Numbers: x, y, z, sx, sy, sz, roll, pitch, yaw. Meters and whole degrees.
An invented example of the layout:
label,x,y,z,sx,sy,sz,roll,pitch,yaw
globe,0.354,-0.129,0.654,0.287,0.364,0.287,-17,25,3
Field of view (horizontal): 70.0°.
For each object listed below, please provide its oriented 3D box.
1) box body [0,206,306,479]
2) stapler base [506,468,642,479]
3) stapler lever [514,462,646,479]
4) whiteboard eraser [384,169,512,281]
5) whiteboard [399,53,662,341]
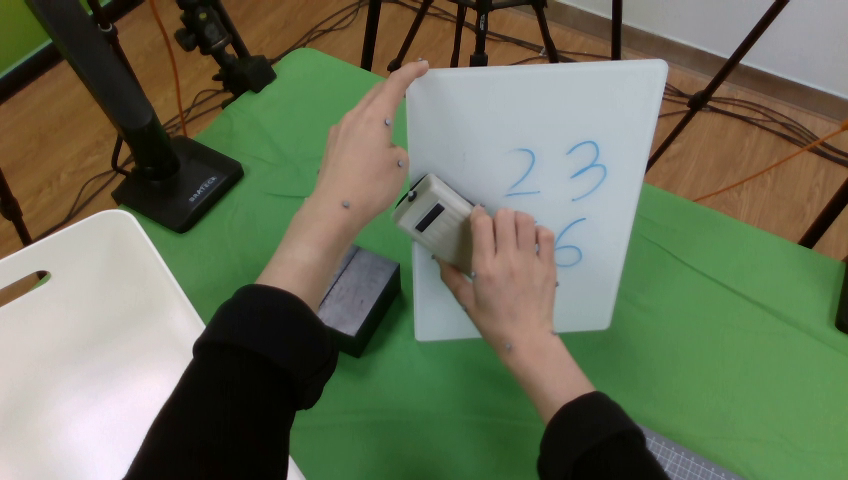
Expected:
label,x,y,z,sx,sy,sz,roll,pitch,yaw
box body,-0.271,0.183,0.500,0.254,0.162,0.361,-33,63,-22
stapler base,0.142,0.234,0.561,0.130,0.024,0.041,-5,52,-1
stapler lever,0.140,0.219,0.541,0.118,0.040,0.026,-5,52,-1
whiteboard eraser,0.023,-0.013,0.548,0.055,0.113,0.041,-49,27,13
whiteboard,0.085,-0.060,0.628,0.217,0.308,0.142,-3,37,-3
